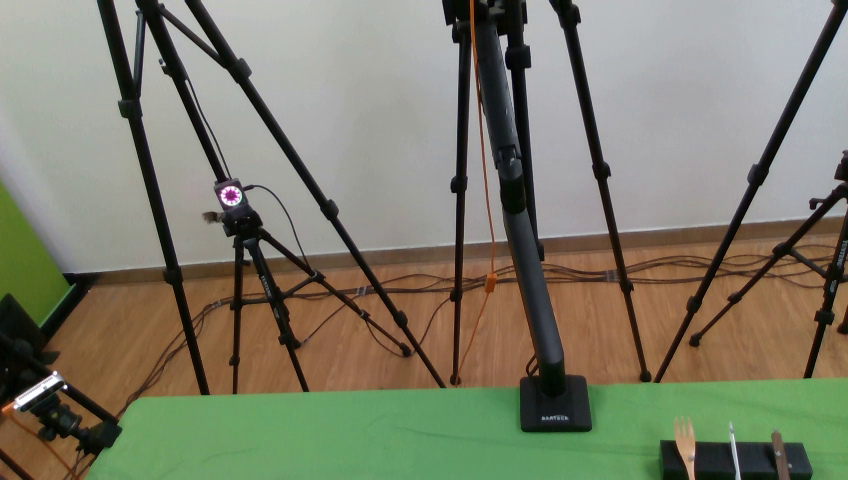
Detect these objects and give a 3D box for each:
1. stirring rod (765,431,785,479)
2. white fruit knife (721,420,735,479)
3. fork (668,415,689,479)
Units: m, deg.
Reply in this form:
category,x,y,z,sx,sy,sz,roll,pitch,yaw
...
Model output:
category,x,y,z,sx,sy,sz,roll,pitch,yaw
stirring rod,0.504,0.358,0.849,0.014,0.006,0.174,-7,62,19
white fruit knife,0.442,0.357,0.862,0.016,0.028,0.205,0,54,11
fork,0.382,0.359,0.879,0.028,0.019,0.205,-2,57,8
